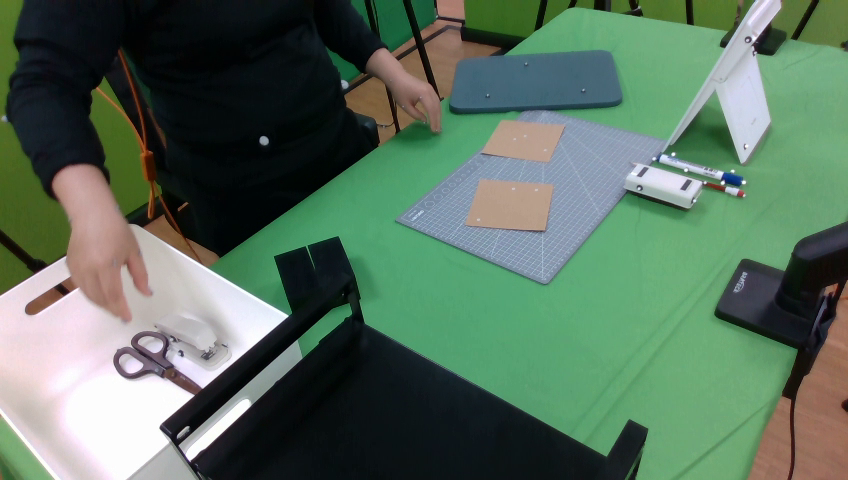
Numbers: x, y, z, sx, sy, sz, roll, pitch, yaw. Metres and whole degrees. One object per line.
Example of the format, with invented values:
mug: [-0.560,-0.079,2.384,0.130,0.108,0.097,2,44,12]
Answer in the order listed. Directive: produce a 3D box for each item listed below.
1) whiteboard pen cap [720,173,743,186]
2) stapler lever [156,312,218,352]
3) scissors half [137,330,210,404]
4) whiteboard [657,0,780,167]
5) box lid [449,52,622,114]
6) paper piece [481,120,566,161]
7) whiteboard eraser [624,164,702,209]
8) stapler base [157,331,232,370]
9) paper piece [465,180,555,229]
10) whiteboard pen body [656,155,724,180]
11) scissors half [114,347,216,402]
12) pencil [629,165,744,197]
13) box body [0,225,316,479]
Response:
whiteboard pen cap: [0.519,-0.103,1.020,0.033,0.018,0.018,23,49,30]
stapler lever: [-0.330,0.122,0.837,0.117,0.040,0.027,16,39,32]
scissors half: [-0.336,0.173,0.823,0.040,0.013,0.174,-34,52,-30]
whiteboard: [0.571,-0.272,1.038,0.143,0.306,0.218,37,54,17]
box lid: [0.249,-0.358,1.370,0.371,0.015,0.262,-1,40,9]
paper piece: [0.197,-0.199,1.188,0.135,0.004,0.135,11,43,21]
whiteboard eraser: [0.396,-0.087,1.003,0.112,0.042,0.056,22,47,31]
stapler base: [-0.326,0.143,0.851,0.129,0.024,0.041,16,39,31]
paper piece: [0.149,-0.062,1.035,0.137,0.009,0.136,5,38,16]
whiteboard pen body: [0.475,-0.123,1.052,0.139,0.017,0.017,24,49,32]
scissors half: [-0.349,0.185,0.811,0.174,0.013,0.040,15,50,19]
pencil: [0.447,-0.103,1.038,0.192,0.012,0.012,21,48,29]
box body: [-0.339,0.162,0.728,0.361,0.161,0.255,23,48,31]
